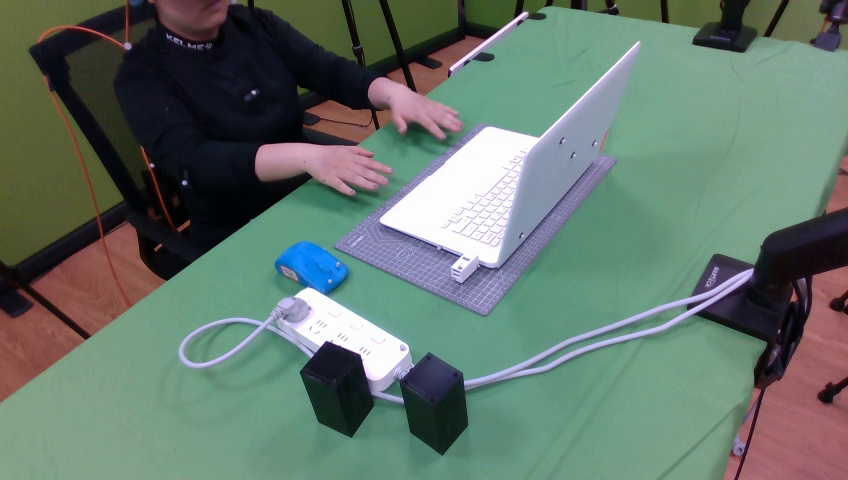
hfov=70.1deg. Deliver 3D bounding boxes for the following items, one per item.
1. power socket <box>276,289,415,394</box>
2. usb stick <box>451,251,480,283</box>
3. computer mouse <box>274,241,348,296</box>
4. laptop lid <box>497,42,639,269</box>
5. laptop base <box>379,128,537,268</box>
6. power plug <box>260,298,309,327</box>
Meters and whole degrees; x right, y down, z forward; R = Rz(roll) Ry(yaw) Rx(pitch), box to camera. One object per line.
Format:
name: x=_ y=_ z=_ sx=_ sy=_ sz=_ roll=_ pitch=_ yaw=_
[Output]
power socket: x=-0.114 y=0.133 z=0.820 sx=0.225 sy=0.033 sz=0.072 roll=25 pitch=49 yaw=33
usb stick: x=0.066 y=0.036 z=0.899 sx=0.021 sy=0.027 sz=0.059 roll=23 pitch=45 yaw=32
computer mouse: x=-0.175 y=0.040 z=0.936 sx=0.116 sy=0.041 sz=0.063 roll=27 pitch=48 yaw=27
laptop lid: x=0.221 y=-0.130 z=0.912 sx=0.013 sy=0.242 sz=0.357 roll=31 pitch=51 yaw=21
laptop base: x=0.118 y=-0.088 z=1.058 sx=0.233 sy=0.023 sz=0.355 roll=19 pitch=47 yaw=32
power plug: x=-0.193 y=0.107 z=0.831 sx=0.073 sy=0.053 sz=0.035 roll=-31 pitch=43 yaw=-25
